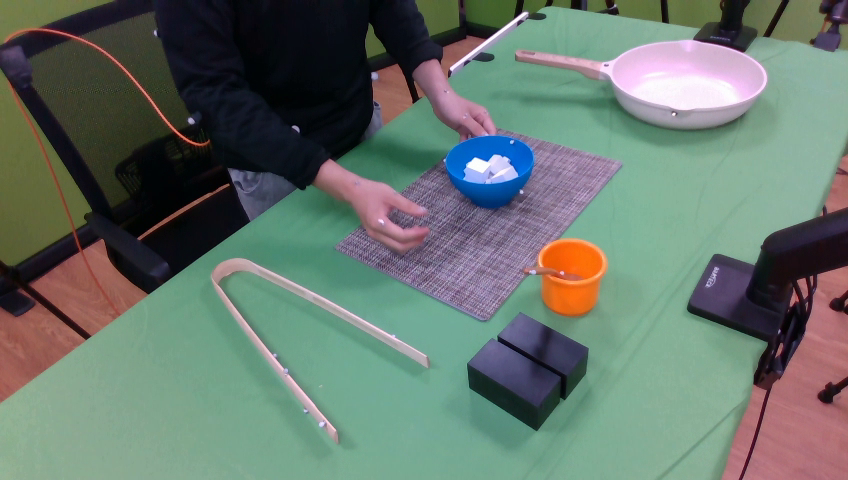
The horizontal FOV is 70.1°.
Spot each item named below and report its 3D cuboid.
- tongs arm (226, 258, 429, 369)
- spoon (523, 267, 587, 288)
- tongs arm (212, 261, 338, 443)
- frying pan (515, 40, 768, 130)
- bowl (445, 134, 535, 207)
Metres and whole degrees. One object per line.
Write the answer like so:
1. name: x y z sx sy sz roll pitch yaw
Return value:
1. tongs arm: -0.150 0.098 0.873 0.384 0.028 0.028 22 50 30
2. spoon: 0.170 0.046 0.793 0.041 0.195 0.021 21 92 33
3. tongs arm: -0.208 0.136 0.830 0.051 0.026 0.381 -31 45 -28
4. frying pan: 0.423 -0.337 1.236 0.486 0.103 0.307 16 44 13
5. bowl: 0.113 -0.109 1.029 0.151 0.077 0.150 -4 40 4
